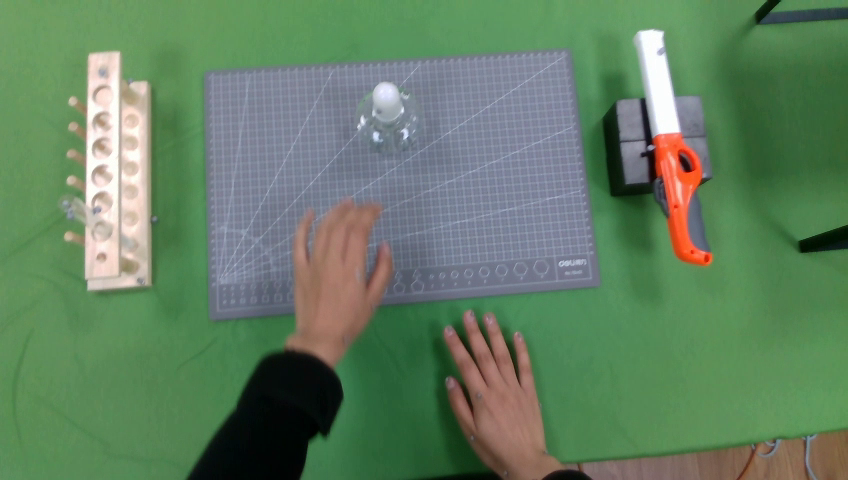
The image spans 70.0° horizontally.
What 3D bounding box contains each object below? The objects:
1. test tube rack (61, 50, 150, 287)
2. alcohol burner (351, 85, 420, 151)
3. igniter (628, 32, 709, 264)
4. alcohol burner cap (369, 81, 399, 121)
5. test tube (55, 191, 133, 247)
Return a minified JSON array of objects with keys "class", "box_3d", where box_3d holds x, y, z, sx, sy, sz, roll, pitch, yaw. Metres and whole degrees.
[{"class":"test tube rack","box_3d":[-0.353,-0.075,0.666,0.067,0.085,0.241,-5,80,-3]},{"class":"alcohol burner","box_3d":[-0.044,-0.143,0.675,0.078,0.119,0.077,0,80,0]},{"class":"igniter","box_3d":[0.272,-0.106,0.681,0.057,0.025,0.275,-6,77,-6]},{"class":"alcohol burner cap","box_3d":[-0.044,-0.149,0.640,0.034,0.048,0.033,0,80,0]},{"class":"test tube","box_3d":[-0.326,-0.018,0.607,0.017,0.151,0.017,1,75,-5]}]
